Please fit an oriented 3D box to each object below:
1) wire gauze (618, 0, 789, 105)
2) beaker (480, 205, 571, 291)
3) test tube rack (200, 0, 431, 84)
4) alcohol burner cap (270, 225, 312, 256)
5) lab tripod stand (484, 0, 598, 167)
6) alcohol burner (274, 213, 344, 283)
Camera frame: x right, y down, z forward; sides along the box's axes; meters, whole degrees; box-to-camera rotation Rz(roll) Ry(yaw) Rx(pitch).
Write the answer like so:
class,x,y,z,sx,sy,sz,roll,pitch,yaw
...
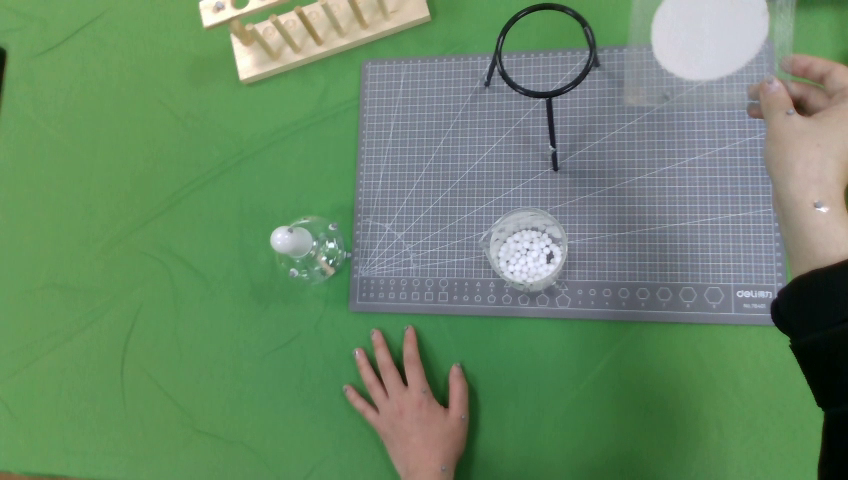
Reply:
class,x,y,z,sx,sy,sz,roll,pitch,yaw
wire gauze,0.217,-0.167,0.474,0.124,0.011,0.121,7,97,33
beaker,0.102,0.012,0.602,0.084,0.101,0.074,7,82,13
test tube rack,-0.122,-0.264,0.699,0.242,0.085,0.066,-17,78,8
alcohol burner cap,-0.137,-0.001,0.609,0.034,0.048,0.034,-1,84,11
lab tripod stand,0.123,-0.160,0.606,0.148,0.132,0.148,-1,82,9
alcohol burner,-0.129,0.006,0.644,0.078,0.120,0.077,-2,78,10
